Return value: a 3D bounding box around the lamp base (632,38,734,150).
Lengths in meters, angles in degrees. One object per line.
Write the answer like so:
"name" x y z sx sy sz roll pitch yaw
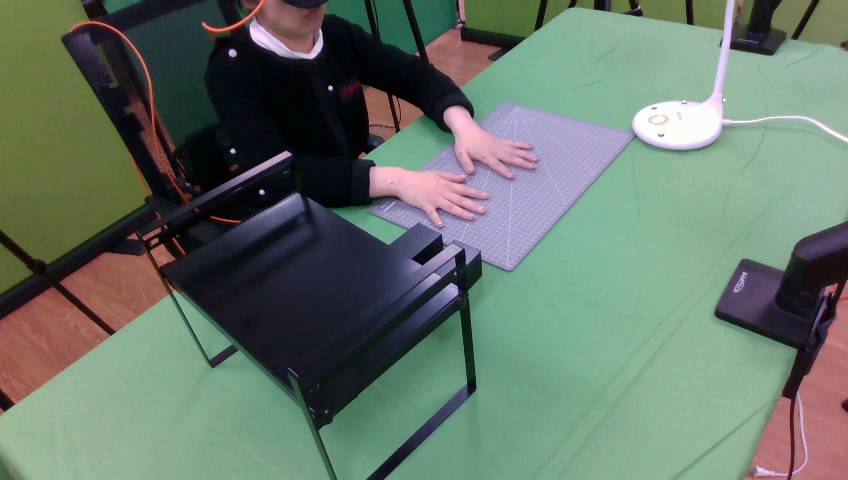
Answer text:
"lamp base" 0.486 -0.280 1.108 0.179 0.181 0.159 -5 41 -1
